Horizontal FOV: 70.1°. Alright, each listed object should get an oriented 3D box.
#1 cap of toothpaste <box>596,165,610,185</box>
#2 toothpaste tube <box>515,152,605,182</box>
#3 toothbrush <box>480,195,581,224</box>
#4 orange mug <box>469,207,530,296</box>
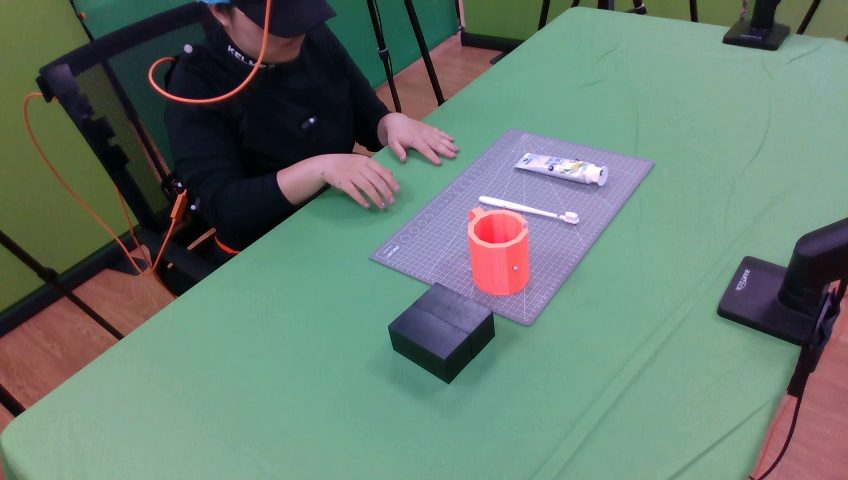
[{"bbox_3d":[0.307,-0.113,1.041,0.011,0.037,0.037,20,48,39],"label":"cap of toothpaste"},{"bbox_3d":[0.248,-0.133,1.087,0.164,0.034,0.055,18,42,34],"label":"toothpaste tube"},{"bbox_3d":[0.175,-0.054,1.016,0.180,0.017,0.014,15,59,29],"label":"toothbrush"},{"bbox_3d":[0.104,0.008,0.894,0.084,0.101,0.125,-22,46,-14],"label":"orange mug"}]
